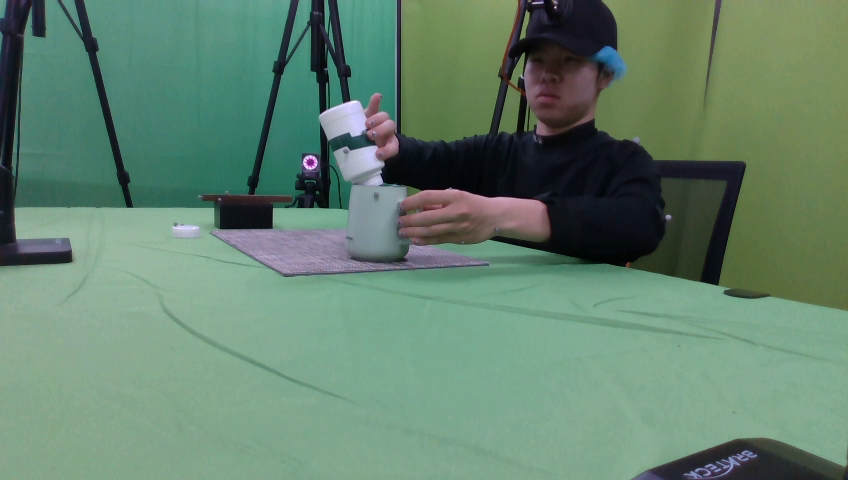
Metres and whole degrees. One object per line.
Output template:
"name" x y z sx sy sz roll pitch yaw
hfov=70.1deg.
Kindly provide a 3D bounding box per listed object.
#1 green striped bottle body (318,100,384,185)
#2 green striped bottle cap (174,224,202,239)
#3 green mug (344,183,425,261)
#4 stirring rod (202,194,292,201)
"green striped bottle body" -0.098 -0.130 0.851 0.063 0.119 0.063 -22 8 3
"green striped bottle cap" -0.404 -0.015 1.036 0.044 0.020 0.044 -1 9 1
"green mug" -0.053 -0.025 0.849 0.125 0.105 0.093 7 9 33
"stirring rod" -0.353 -0.086 1.216 0.177 0.014 0.006 -1 12 -27
